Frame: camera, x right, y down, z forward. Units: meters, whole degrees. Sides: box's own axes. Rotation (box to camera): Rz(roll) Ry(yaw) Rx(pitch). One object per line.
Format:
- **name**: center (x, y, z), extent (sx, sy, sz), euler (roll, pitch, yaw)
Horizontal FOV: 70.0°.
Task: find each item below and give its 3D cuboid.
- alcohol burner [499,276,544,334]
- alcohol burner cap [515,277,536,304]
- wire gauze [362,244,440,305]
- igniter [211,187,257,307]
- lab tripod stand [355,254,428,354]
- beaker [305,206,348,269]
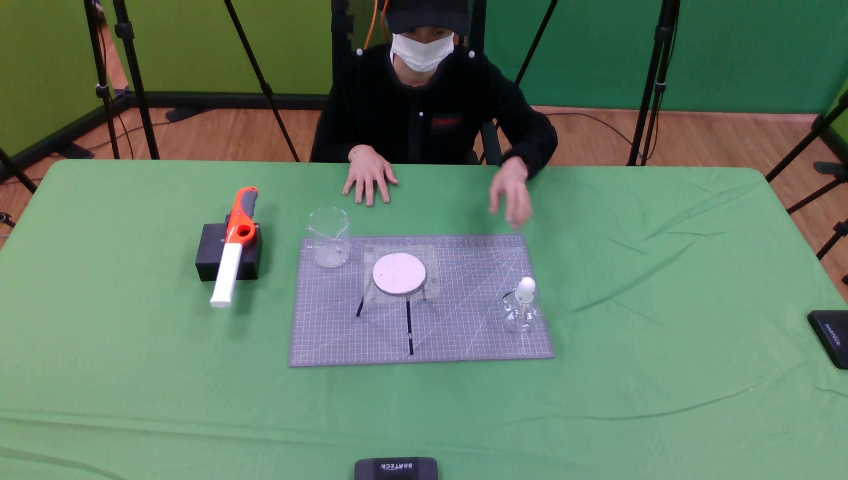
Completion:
- **alcohol burner**: center (0.170, 0.106, 1.041), extent (0.078, 0.120, 0.077), euler (1, 44, -1)
- **alcohol burner cap**: center (0.171, 0.082, 1.015), extent (0.034, 0.048, 0.033), euler (0, 52, 0)
- **wire gauze**: center (-0.038, 0.051, 0.971), extent (0.121, 0.011, 0.124), euler (-1, 46, -4)
- **igniter**: center (-0.343, 0.003, 1.100), extent (0.057, 0.025, 0.274), euler (2, 49, -4)
- **lab tripod stand**: center (-0.046, 0.100, 1.017), extent (0.148, 0.132, 0.147), euler (1, 47, -1)
- **beaker**: center (-0.177, 0.001, 1.126), extent (0.074, 0.101, 0.083), euler (-14, 49, -16)
